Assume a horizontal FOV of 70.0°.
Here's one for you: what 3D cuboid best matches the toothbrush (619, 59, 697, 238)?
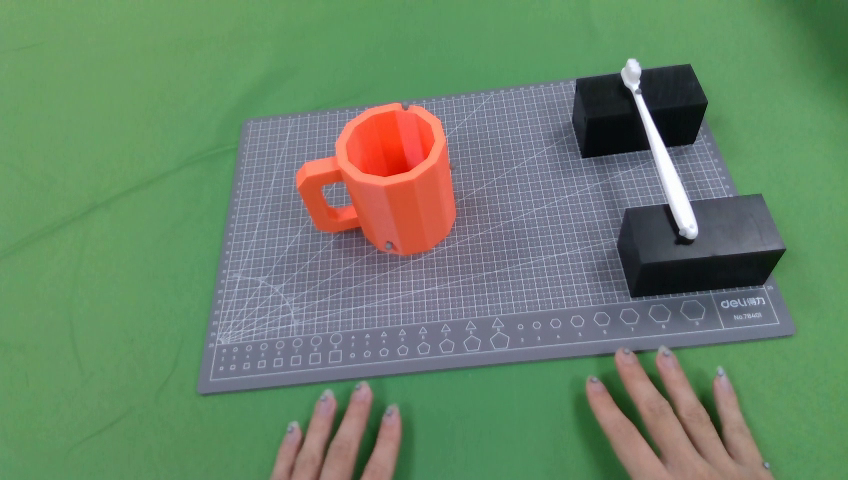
[{"bbox_3d":[0.184,-0.079,0.479,0.014,0.017,0.180,1,57,-9],"label":"toothbrush"}]

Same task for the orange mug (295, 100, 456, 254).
[{"bbox_3d":[-0.038,-0.046,0.500,0.126,0.102,0.082,-11,55,-4],"label":"orange mug"}]
